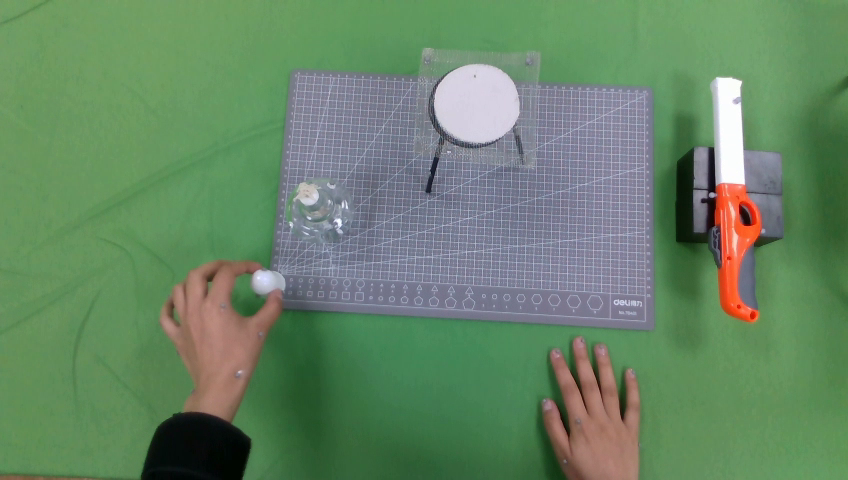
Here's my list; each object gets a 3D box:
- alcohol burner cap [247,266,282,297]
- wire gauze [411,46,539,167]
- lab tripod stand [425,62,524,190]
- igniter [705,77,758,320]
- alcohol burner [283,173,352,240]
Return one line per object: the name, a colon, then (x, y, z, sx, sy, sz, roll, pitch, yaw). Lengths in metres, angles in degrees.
alcohol burner cap: (-0.177, 0.044, 0.660, 0.034, 0.048, 0.033, 0, 78, 1)
wire gauze: (0.052, -0.137, 0.607, 0.125, 0.011, 0.121, 6, 79, 2)
lab tripod stand: (0.047, -0.129, 0.674, 0.148, 0.132, 0.147, 0, 79, 2)
igniter: (0.337, -0.050, 0.668, 0.057, 0.025, 0.275, 4, 77, -2)
alcohol burner: (-0.120, -0.041, 0.667, 0.078, 0.119, 0.077, 0, 81, 2)
